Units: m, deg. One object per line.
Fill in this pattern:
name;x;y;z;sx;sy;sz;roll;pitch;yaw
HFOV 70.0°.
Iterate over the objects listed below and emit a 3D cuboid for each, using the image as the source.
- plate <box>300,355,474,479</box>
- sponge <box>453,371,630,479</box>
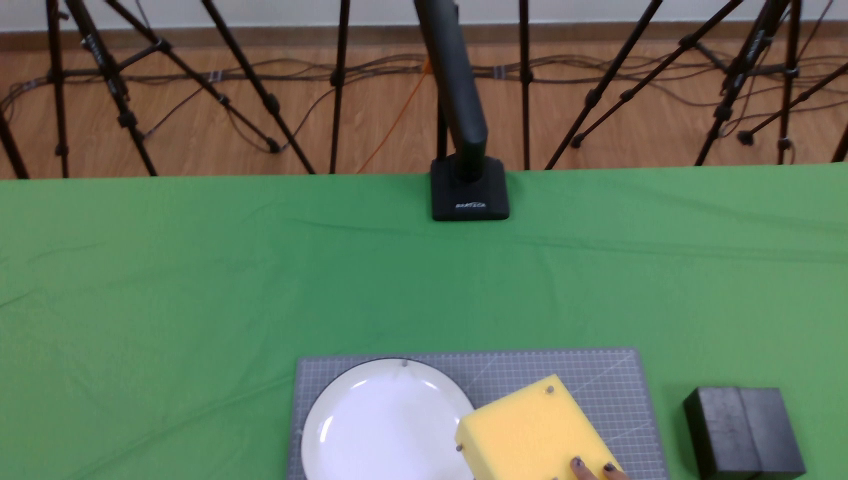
plate;-0.038;0.234;0.707;0.209;0.038;0.207;3;50;-3
sponge;0.132;0.247;0.596;0.118;0.061;0.204;-20;56;-21
